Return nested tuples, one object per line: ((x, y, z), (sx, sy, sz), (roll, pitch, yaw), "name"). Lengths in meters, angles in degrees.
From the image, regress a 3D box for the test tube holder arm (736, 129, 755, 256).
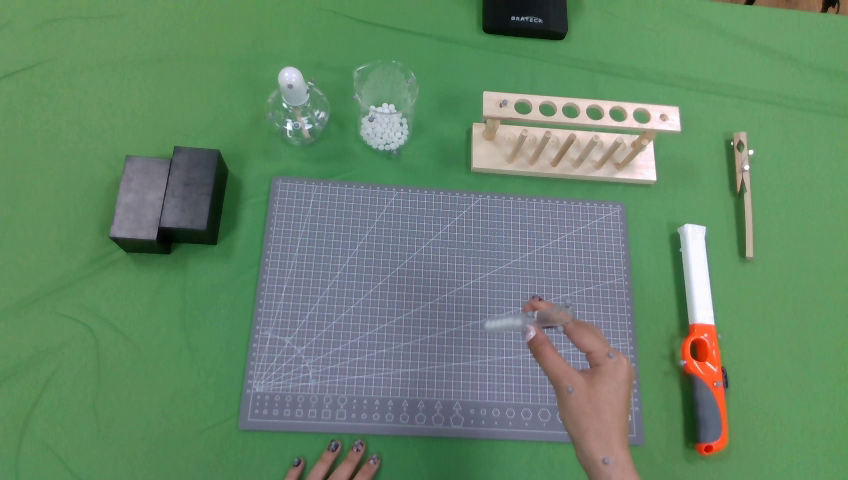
((0.424, -0.065, 0.800), (0.013, 0.015, 0.177), (-8, 68, 28), "test tube holder arm")

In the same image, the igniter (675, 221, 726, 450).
((0.330, 0.108, 0.729), (0.057, 0.025, 0.274), (8, 70, -14), "igniter")

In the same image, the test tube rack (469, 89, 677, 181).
((0.183, -0.130, 0.763), (0.243, 0.085, 0.066), (3, 70, -5), "test tube rack")

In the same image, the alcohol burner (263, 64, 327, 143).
((-0.156, -0.168, 0.724), (0.078, 0.120, 0.077), (2, 69, -5), "alcohol burner")

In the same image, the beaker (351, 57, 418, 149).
((-0.052, -0.164, 0.742), (0.084, 0.101, 0.074), (31, 70, 6), "beaker")

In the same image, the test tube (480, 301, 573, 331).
((0.087, 0.071, 0.549), (0.017, 0.150, 0.017), (4, 77, -20), "test tube")

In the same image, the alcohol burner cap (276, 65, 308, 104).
((-0.151, -0.180, 0.691), (0.034, 0.048, 0.033), (1, 77, -3), "alcohol burner cap")

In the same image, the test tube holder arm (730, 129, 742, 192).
((0.422, -0.107, 0.817), (0.010, 0.015, 0.087), (-6, 69, 29), "test tube holder arm")
